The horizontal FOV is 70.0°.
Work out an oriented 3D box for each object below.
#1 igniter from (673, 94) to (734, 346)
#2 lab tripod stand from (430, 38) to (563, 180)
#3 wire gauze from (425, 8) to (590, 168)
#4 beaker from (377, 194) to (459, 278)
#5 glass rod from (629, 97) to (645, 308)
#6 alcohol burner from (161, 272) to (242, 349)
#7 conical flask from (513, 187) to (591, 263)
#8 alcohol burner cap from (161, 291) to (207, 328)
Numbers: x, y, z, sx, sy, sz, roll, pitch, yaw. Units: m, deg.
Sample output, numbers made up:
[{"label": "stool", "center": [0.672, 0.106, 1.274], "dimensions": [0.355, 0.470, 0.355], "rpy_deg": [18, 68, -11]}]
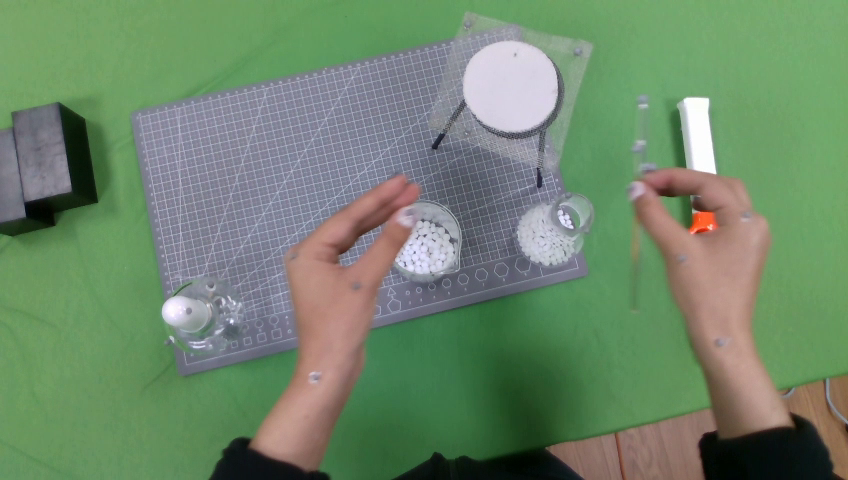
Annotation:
[{"label": "igniter", "center": [0.302, -0.025, 0.657], "dimensions": [0.057, 0.025, 0.275], "rpy_deg": [-1, 82, -11]}, {"label": "lab tripod stand", "center": [0.078, -0.130, 0.613], "dimensions": [0.148, 0.132, 0.148], "rpy_deg": [0, 84, 1]}, {"label": "wire gauze", "center": [0.076, -0.141, 0.547], "dimensions": [0.125, 0.011, 0.121], "rpy_deg": [18, 84, 3]}, {"label": "beaker", "center": [-0.002, 0.002, 0.612], "dimensions": [0.084, 0.100, 0.074], "rpy_deg": [40, 84, 5]}, {"label": "glass rod", "center": [0.162, -0.017, 0.462], "dimensions": [0.008, 0.202, 0.008], "rpy_deg": [-8, 39, 7]}, {"label": "alcohol burner", "center": [-0.223, 0.069, 0.594], "dimensions": [0.078, 0.119, 0.077], "rpy_deg": [0, 83, 1]}, {"label": "conical flask", "center": [0.133, -0.020, 0.604], "dimensions": [0.075, 0.122, 0.075], "rpy_deg": [0, 81, 0]}, {"label": "alcohol burner cap", "center": [-0.223, 0.062, 0.558], "dimensions": [0.034, 0.048, 0.033], "rpy_deg": [0, 75, -1]}]
